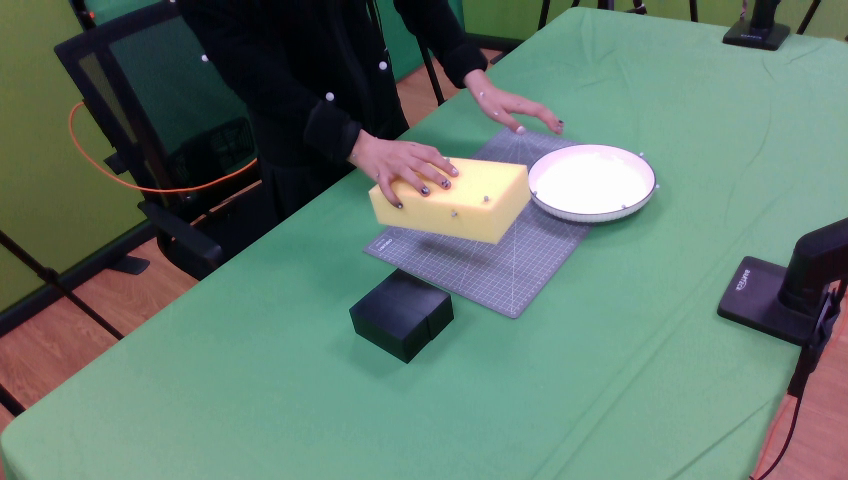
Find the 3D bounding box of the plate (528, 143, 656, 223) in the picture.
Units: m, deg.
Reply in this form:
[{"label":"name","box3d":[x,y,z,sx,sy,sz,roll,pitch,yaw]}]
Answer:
[{"label":"plate","box3d":[0.281,-0.093,1.023,0.209,0.038,0.208,-5,40,5]}]

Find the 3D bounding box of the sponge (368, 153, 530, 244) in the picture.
[{"label":"sponge","box3d":[0.038,-0.067,0.897,0.205,0.061,0.118,10,42,30]}]
